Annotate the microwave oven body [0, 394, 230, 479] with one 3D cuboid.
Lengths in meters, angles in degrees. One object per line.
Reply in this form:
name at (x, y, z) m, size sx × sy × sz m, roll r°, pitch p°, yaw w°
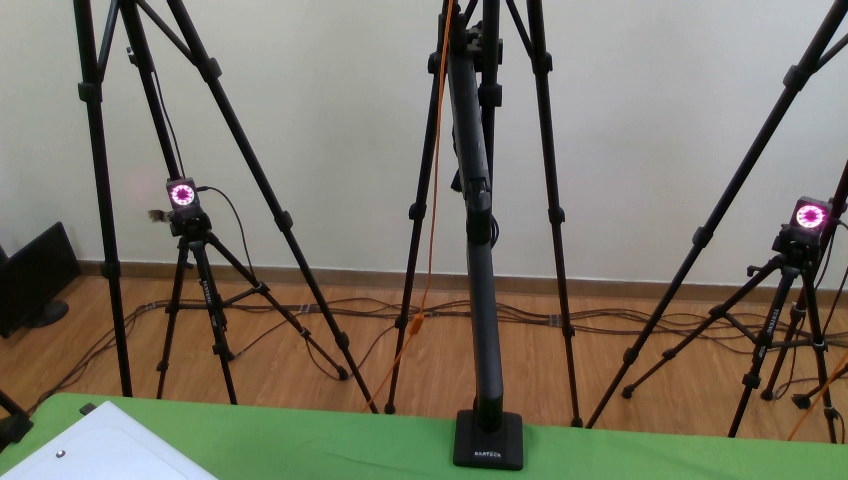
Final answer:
microwave oven body at (-0.447, 0.459, 0.711) m, size 0.323 × 0.262 × 0.441 m, roll 20°, pitch 41°, yaw 28°
